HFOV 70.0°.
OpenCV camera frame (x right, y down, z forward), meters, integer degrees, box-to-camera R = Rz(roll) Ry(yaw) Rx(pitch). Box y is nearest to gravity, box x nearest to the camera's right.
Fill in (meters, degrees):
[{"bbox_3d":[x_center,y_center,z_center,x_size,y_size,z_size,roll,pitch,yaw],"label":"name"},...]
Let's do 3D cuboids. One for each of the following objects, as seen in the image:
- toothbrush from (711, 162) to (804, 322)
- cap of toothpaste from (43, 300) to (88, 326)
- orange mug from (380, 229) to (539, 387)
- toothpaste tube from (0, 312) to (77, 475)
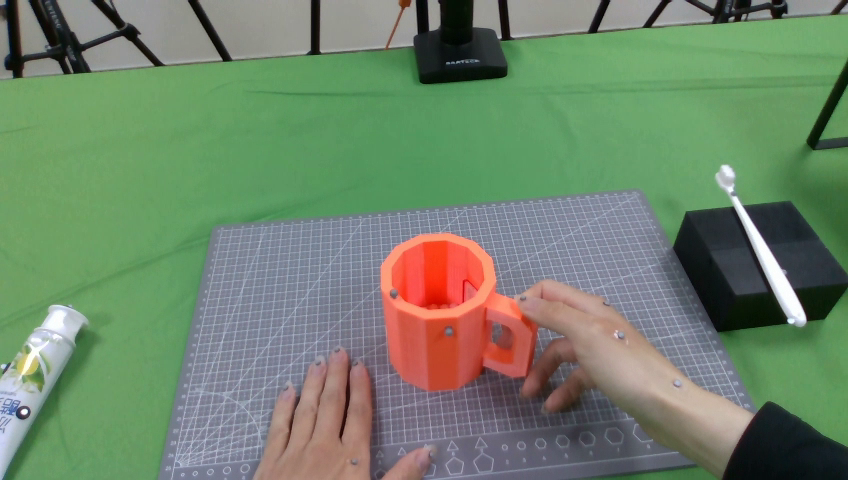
[{"bbox_3d":[0.282,-0.006,0.518,0.014,0.017,0.180,1,47,-2],"label":"toothbrush"},{"bbox_3d":[-0.311,0.064,0.524,0.037,0.038,0.011,4,50,7],"label":"cap of toothpaste"},{"bbox_3d":[0.026,0.059,0.472,0.125,0.102,0.083,15,48,22],"label":"orange mug"},{"bbox_3d":[-0.325,0.124,0.475,0.055,0.035,0.163,2,50,10],"label":"toothpaste tube"}]
